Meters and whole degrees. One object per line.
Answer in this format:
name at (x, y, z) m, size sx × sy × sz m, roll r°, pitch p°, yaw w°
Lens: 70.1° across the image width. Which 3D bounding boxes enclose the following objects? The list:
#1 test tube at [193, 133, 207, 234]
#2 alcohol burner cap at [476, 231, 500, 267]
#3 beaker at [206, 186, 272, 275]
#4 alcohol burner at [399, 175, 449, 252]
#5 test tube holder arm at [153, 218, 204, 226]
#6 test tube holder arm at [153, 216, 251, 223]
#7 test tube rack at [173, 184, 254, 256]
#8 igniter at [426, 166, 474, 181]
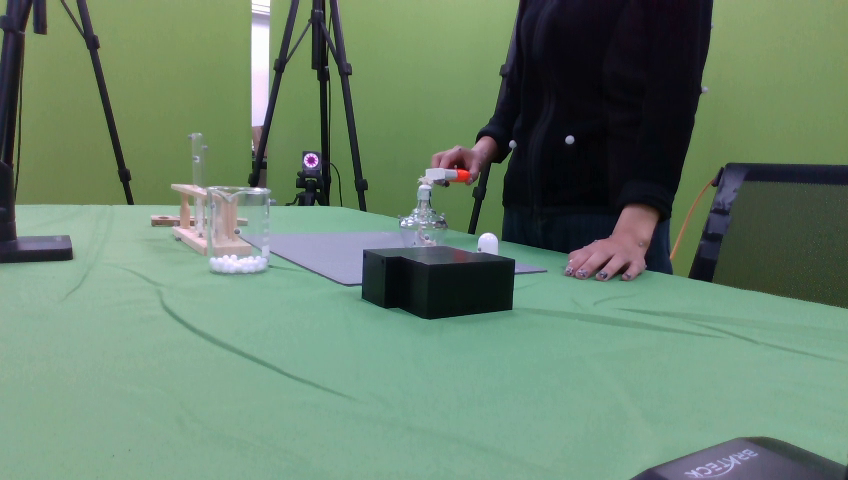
test tube at (-0.335, -0.084, 0.904) m, size 0.017 × 0.150 × 0.017 m, roll -1°, pitch 2°, yaw 0°
alcohol burner cap at (0.088, 0.012, 0.830) m, size 0.034 × 0.048 × 0.034 m, roll 3°, pitch 7°, yaw 0°
beaker at (-0.220, -0.012, 0.717) m, size 0.074 × 0.100 × 0.084 m, roll 2°, pitch 8°, yaw -3°
alcohol burner at (0.000, -0.041, 0.937) m, size 0.078 × 0.119 × 0.078 m, roll 0°, pitch 7°, yaw 0°
test tube holder arm at (-0.459, -0.034, 1.132) m, size 0.088 × 0.015 × 0.010 m, roll -1°, pitch 43°, yaw -30°
test tube holder arm at (-0.422, -0.039, 1.159) m, size 0.179 × 0.015 × 0.013 m, roll -2°, pitch 43°, yaw -31°
test tube rack at (-0.328, -0.036, 0.927) m, size 0.067 × 0.085 × 0.241 m, roll -2°, pitch 9°, yaw -32°
igniter at (0.051, -0.119, 1.082) m, size 0.057 × 0.025 × 0.277 m, roll -2°, pitch 5°, yaw 14°
